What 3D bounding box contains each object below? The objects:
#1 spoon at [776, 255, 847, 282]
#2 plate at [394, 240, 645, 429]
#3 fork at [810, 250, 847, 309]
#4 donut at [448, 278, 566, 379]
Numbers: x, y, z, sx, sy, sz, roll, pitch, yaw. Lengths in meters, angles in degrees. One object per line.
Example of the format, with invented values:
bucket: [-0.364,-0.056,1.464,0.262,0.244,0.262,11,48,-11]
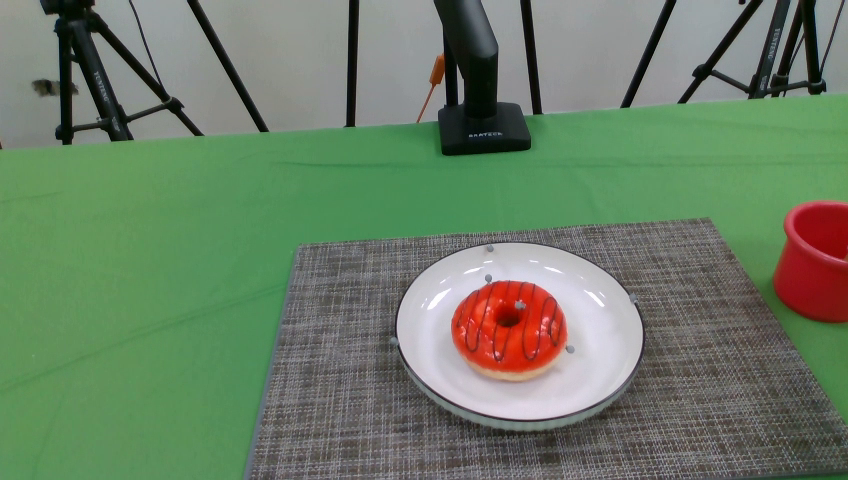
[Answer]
spoon: [0.382,0.014,0.498,0.041,0.193,0.021,-36,93,-23]
plate: [0.080,0.078,0.523,0.209,0.038,0.207,-2,38,2]
fork: [0.406,-0.028,0.536,0.019,0.207,0.028,27,3,-16]
donut: [0.070,0.073,0.512,0.099,0.049,0.098,-3,42,3]
